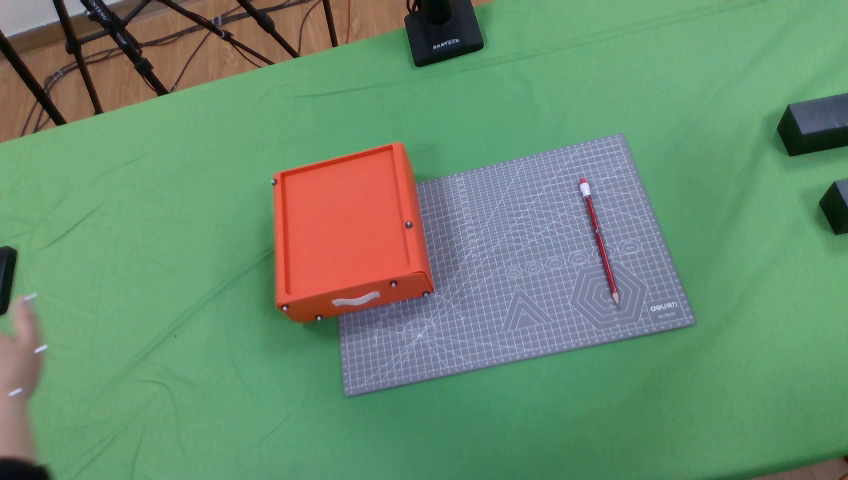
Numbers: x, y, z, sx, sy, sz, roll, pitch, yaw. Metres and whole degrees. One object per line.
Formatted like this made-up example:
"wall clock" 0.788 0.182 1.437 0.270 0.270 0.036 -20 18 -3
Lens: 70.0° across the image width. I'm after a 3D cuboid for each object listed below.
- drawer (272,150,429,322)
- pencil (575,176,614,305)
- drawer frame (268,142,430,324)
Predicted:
"drawer" -0.107 -0.008 0.845 0.194 0.074 0.209 -14 60 6
"pencil" 0.229 -0.003 0.811 0.012 0.012 0.192 -11 64 7
"drawer frame" -0.109 -0.010 0.845 0.201 0.083 0.211 -14 60 6
